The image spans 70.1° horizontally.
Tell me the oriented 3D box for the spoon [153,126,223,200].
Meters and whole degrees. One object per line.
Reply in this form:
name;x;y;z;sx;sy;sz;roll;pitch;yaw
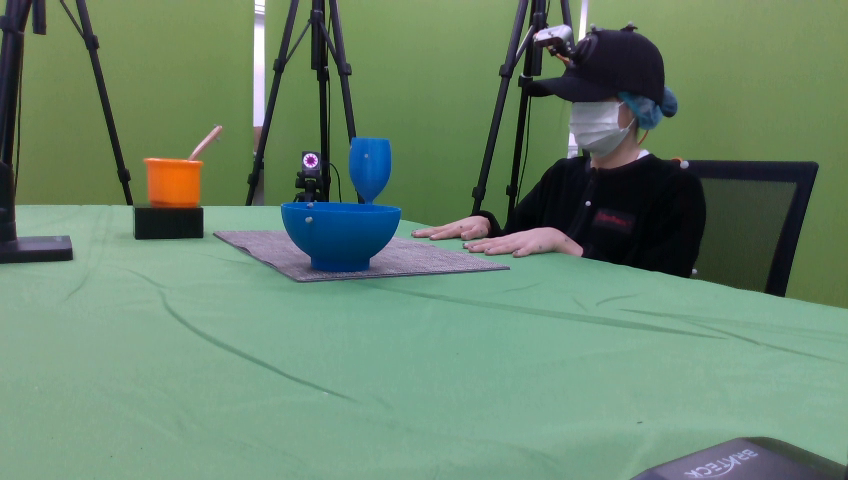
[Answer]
spoon;-0.393;-0.134;1.026;0.041;0.193;0.022;10;-36;19

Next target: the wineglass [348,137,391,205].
wineglass;-0.092;-0.081;0.997;0.074;0.172;0.073;3;7;0

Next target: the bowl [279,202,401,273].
bowl;-0.105;-0.003;0.756;0.151;0.077;0.151;3;7;0
